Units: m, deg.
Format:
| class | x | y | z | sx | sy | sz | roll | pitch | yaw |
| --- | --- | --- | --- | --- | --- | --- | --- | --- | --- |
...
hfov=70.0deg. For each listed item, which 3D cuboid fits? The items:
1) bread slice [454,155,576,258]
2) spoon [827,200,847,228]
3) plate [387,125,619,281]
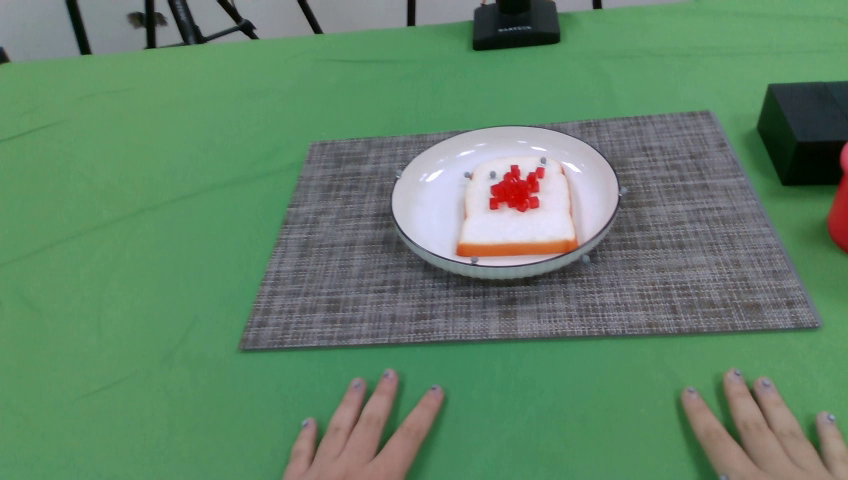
| class | x | y | z | sx | sy | sz | roll | pitch | yaw |
| --- | --- | --- | --- | --- | --- | --- | --- | --- | --- |
| bread slice | 0.083 | -0.035 | 0.564 | 0.105 | 0.019 | 0.130 | -1 | 44 | 8 |
| spoon | 0.404 | -0.050 | 0.445 | 0.022 | 0.193 | 0.041 | 44 | 49 | -11 |
| plate | 0.070 | -0.035 | 0.563 | 0.209 | 0.038 | 0.207 | -5 | 43 | 5 |
